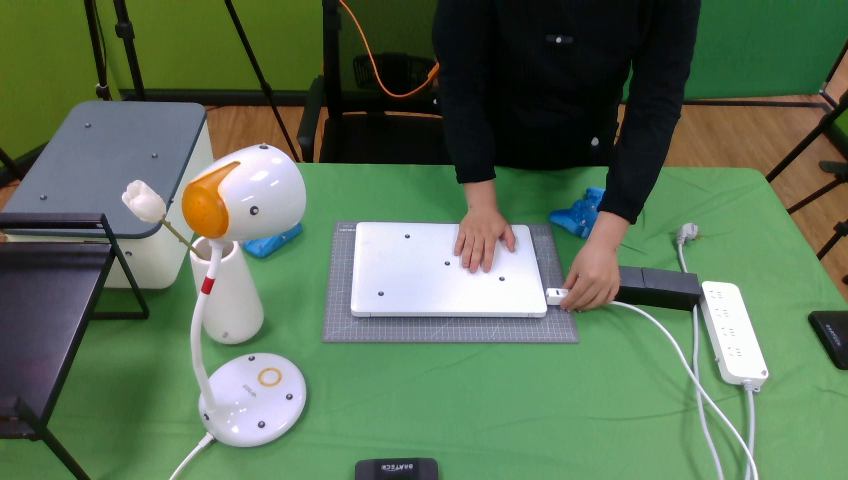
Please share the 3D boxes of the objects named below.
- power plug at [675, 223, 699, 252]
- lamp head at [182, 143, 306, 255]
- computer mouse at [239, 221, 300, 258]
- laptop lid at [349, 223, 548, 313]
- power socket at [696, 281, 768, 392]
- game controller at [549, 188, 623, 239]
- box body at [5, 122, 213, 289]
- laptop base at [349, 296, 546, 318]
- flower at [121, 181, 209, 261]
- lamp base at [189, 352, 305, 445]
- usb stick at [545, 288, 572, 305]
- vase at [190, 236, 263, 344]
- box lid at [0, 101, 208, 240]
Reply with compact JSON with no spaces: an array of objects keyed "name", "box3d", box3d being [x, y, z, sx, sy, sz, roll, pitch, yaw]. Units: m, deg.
[{"name":"power plug","box3d":[0.537,0.000,1.243,0.053,0.035,0.072,23,81,-15]},{"name":"lamp head","box3d":[-0.215,-0.044,0.697,0.112,0.113,0.123,23,31,17]},{"name":"computer mouse","box3d":[-0.300,-0.016,1.178,0.062,0.041,0.117,35,57,22]},{"name":"laptop lid","box3d":[0.041,0.047,1.143,0.357,0.013,0.240,2,43,-3]},{"name":"power socket","box3d":[0.542,0.161,1.077,0.072,0.033,0.225,5,46,2]},{"name":"game controller","box3d":[0.346,-0.065,1.272,0.155,0.052,0.096,-31,58,-28]},{"name":"box body","box3d":[-0.563,-0.087,1.139,0.254,0.161,0.361,2,46,-3]},{"name":"laptop base","box3d":[0.041,0.056,1.149,0.355,0.023,0.234,1,43,-4]},{"name":"flower","box3d":[-0.330,0.029,0.905,0.038,0.364,0.044,-23,58,-2]},{"name":"lamp base","box3d":[-0.268,0.197,0.876,0.160,0.181,0.179,26,52,20]},{"name":"usb stick","box3d":[0.238,0.103,1.103,0.059,0.027,0.021,0,50,-4]},{"name":"vase","box3d":[-0.317,0.081,0.971,0.098,0.201,0.097,3,47,-3]},{"name":"box lid","box3d":[-0.559,-0.137,1.085,0.263,0.015,0.369,2,46,-2]}]
